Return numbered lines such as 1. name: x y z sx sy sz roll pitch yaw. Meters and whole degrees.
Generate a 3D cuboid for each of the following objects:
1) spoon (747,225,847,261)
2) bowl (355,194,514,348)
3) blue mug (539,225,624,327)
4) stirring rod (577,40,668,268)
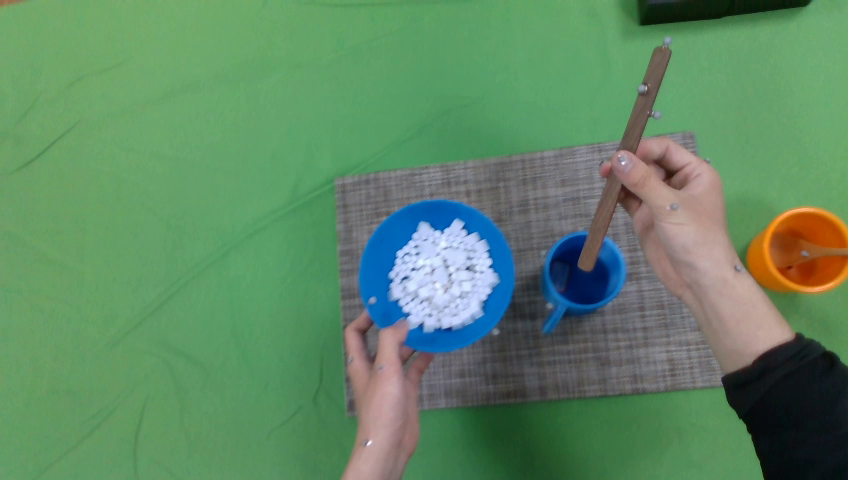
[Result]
1. spoon: 0.435 0.007 0.625 0.022 0.192 0.041 21 81 -34
2. bowl: 0.012 0.037 0.612 0.151 0.077 0.150 0 75 1
3. blue mug: 0.163 0.047 0.674 0.082 0.106 0.116 32 87 12
4. stirring rod: 0.149 -0.061 0.459 0.014 0.006 0.176 29 111 42
